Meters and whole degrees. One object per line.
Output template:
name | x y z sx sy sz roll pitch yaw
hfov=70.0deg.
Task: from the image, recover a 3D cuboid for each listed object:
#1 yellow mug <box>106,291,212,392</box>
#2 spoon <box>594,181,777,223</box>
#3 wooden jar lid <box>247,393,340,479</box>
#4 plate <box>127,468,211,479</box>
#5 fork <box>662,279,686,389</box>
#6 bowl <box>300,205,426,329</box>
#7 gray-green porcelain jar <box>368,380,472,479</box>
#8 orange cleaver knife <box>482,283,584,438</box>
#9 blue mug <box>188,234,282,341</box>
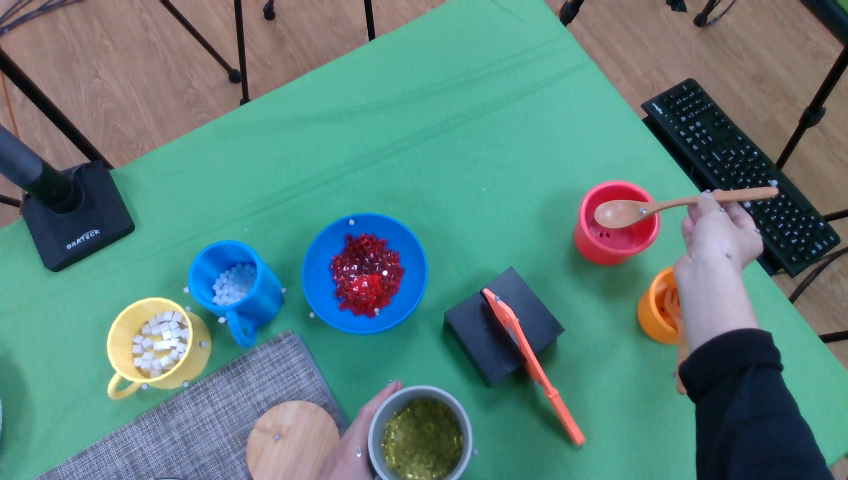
yellow mug | -0.326 0.129 0.726 0.099 0.064 0.130 35 76 12
spoon | 0.282 -0.046 0.671 0.193 0.022 0.041 -9 49 42
wooden jar lid | -0.151 0.235 0.710 0.108 0.021 0.107 0 72 0
plate | -0.284 0.358 0.659 0.209 0.038 0.207 0 71 1
fork | 0.287 0.100 0.689 0.028 0.019 0.206 29 30 5
bowl | -0.071 0.042 0.748 0.151 0.077 0.150 0 72 1
gray-green porcelain jar | -0.004 0.213 0.664 0.106 0.127 0.105 0 71 0
orange cleaver knife | 0.126 0.141 0.711 0.012 0.077 0.212 -33 104 -11
blue mug | -0.222 0.064 0.727 0.082 0.106 0.115 -11 72 -3
